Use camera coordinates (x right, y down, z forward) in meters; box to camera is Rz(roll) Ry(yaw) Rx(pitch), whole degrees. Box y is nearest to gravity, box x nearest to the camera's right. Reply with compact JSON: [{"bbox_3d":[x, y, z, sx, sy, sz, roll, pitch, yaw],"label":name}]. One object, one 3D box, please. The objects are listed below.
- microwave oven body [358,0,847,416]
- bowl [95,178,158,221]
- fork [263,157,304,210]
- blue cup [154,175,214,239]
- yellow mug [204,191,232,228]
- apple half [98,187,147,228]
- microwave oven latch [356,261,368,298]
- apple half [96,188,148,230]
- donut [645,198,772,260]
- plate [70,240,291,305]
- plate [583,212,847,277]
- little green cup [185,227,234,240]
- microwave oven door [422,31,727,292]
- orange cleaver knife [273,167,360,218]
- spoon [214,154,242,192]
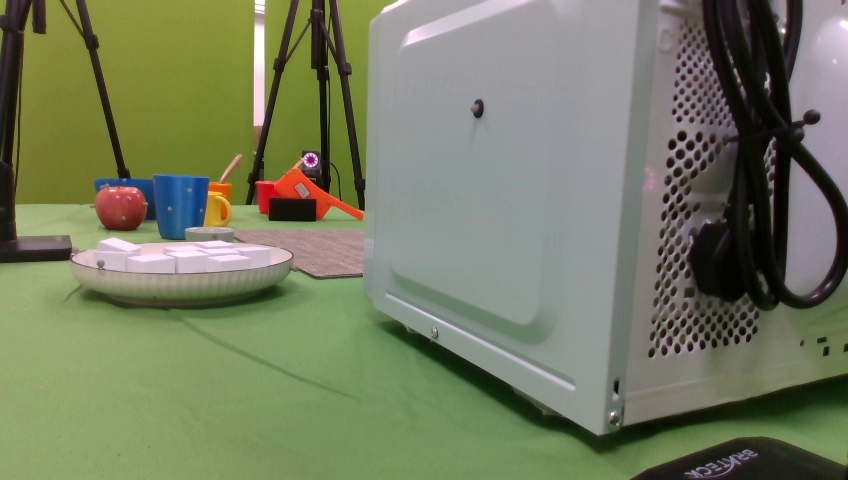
[{"bbox_3d":[0.211,-0.047,0.475,0.444,0.260,0.324,-1,7,-28],"label":"microwave oven body"},{"bbox_3d":[-0.576,-0.081,1.217,0.151,0.077,0.151,3,8,0],"label":"bowl"},{"bbox_3d":[-0.345,-0.143,1.506,0.028,0.019,0.207,-4,46,28],"label":"fork"},{"bbox_3d":[-0.391,-0.054,0.978,0.093,0.100,0.092,3,6,0],"label":"blue cup"},{"bbox_3d":[-0.415,-0.057,1.132,0.130,0.064,0.100,6,8,17],"label":"yellow mug"},{"bbox_3d":[-0.534,-0.059,1.071,0.082,0.081,0.032,-1,11,-25],"label":"apple half"},{"bbox_3d":[-0.019,0.033,0.530,0.079,0.029,0.030,0,7,-25],"label":"microwave oven latch"},{"bbox_3d":[-0.517,-0.052,1.036,0.081,0.074,0.053,2,10,-26],"label":"apple half"},{"bbox_3d":[0.239,-0.008,0.513,0.099,0.048,0.099,10,1,0],"label":"donut"},{"bbox_3d":[-0.242,0.031,0.618,0.208,0.039,0.207,2,8,0],"label":"plate"},{"bbox_3d":[0.239,0.001,0.510,0.209,0.038,0.209,2,6,0],"label":"plate"},{"bbox_3d":[-0.285,0.005,0.805,0.061,0.038,0.061,2,8,0],"label":"little green cup"},{"bbox_3d":[0.173,-0.075,0.638,0.357,0.243,0.039,-1,8,-23],"label":"microwave oven door"},{"bbox_3d":[-0.238,-0.090,1.381,0.212,0.077,0.012,31,0,-19],"label":"orange cleaver knife"},{"bbox_3d":[-0.439,-0.124,1.318,0.041,0.193,0.022,6,-36,16],"label":"spoon"}]
